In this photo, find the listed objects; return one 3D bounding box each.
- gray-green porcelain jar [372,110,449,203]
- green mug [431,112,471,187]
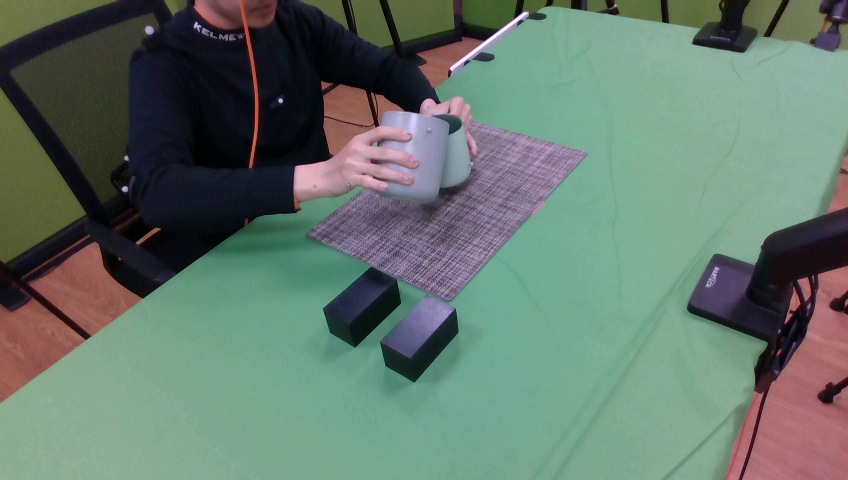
[{"bbox_3d":[-0.022,-0.124,0.924,0.106,0.126,0.106,9,2,0],"label":"gray-green porcelain jar"},{"bbox_3d":[0.033,-0.163,1.044,0.092,0.105,0.125,-3,40,7],"label":"green mug"}]
